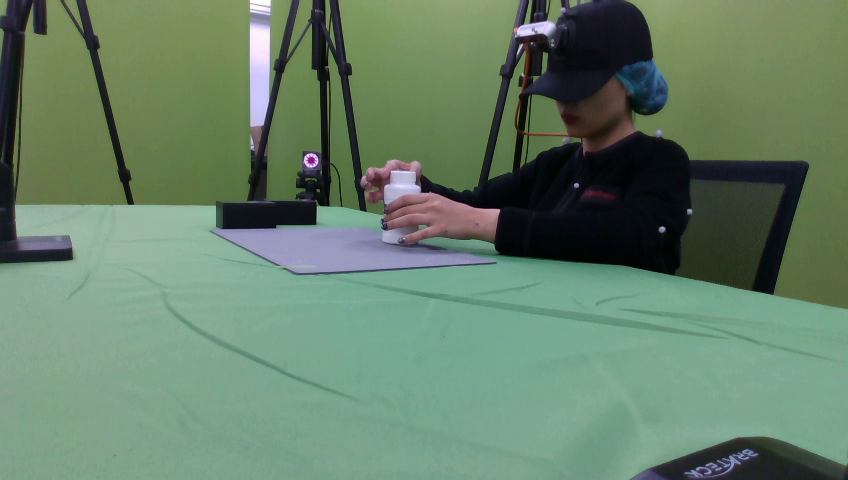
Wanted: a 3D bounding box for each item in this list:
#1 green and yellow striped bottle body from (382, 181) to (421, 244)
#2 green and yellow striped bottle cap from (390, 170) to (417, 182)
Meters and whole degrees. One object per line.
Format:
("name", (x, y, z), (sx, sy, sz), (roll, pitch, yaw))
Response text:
("green and yellow striped bottle body", (-0.038, -0.055, 1.018), (0.063, 0.119, 0.063), (3, 8, 0))
("green and yellow striped bottle cap", (-0.034, -0.107, 1.012), (0.045, 0.020, 0.045), (1, 10, 0))
